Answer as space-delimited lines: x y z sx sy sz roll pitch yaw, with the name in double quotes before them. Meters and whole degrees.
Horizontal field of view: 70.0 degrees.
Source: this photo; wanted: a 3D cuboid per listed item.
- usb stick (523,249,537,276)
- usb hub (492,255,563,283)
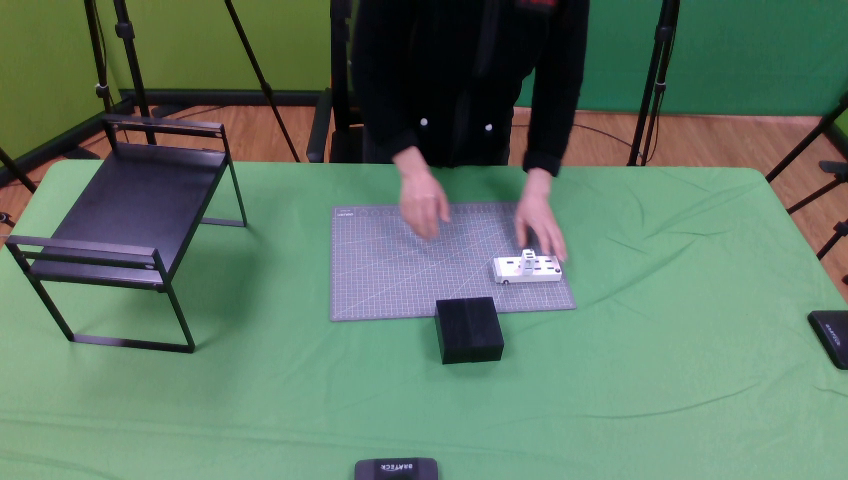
"usb stick" 0.195 0.047 1.119 0.021 0.059 0.027 -7 45 1
"usb hub" 0.196 0.055 1.150 0.125 0.025 0.049 -2 47 -5
